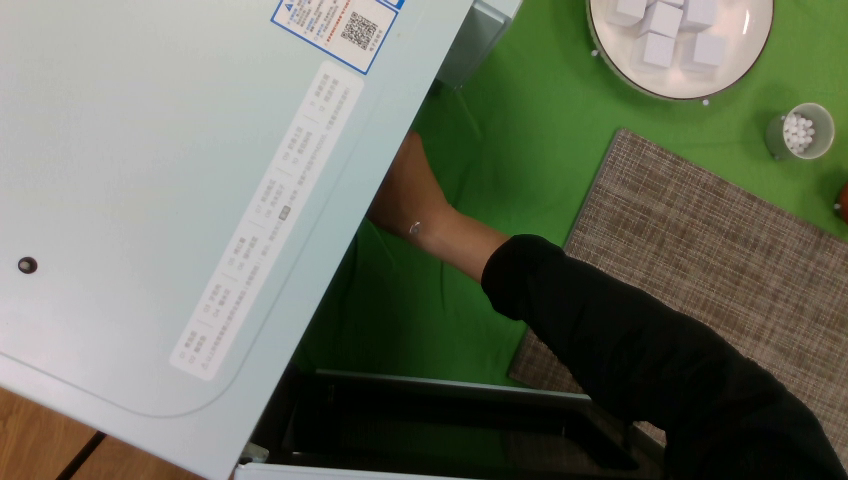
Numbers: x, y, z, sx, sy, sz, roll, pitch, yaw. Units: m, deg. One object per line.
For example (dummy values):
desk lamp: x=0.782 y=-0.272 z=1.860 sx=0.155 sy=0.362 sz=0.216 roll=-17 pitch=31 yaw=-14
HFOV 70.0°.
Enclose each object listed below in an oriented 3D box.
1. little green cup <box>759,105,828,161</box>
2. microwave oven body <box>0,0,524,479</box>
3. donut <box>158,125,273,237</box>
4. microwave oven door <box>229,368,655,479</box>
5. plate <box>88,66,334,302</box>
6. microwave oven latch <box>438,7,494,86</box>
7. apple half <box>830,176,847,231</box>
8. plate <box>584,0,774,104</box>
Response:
little green cup: x=0.411 y=-0.117 z=0.678 sx=0.061 sy=0.038 sz=0.061 roll=0 pitch=92 yaw=-6
microwave oven body: x=-0.162 y=-0.104 z=0.493 sx=0.327 sy=0.259 sz=0.441 roll=28 pitch=90 yaw=-8
donut: x=-0.182 y=-0.051 z=0.533 sx=0.099 sy=0.048 sz=0.099 roll=0 pitch=94 yaw=-5
microwave oven door: x=0.034 y=0.174 z=0.529 sx=0.357 sy=0.243 sz=0.039 roll=7 pitch=91 yaw=-7
plate: x=-0.186 y=-0.049 z=0.546 sx=0.209 sy=0.038 sz=0.209 roll=0 pitch=94 yaw=-6
microwave oven latch: x=0.039 y=-0.197 z=0.608 sx=0.030 sy=0.029 sz=0.079 roll=30 pitch=90 yaw=-8
apple half: x=0.489 y=-0.042 z=0.675 sx=0.053 sy=0.074 sz=0.081 roll=-1 pitch=97 yaw=-2
plate: x=0.270 y=-0.249 z=0.652 sx=0.208 sy=0.039 sz=0.207 roll=0 pitch=93 yaw=-7
